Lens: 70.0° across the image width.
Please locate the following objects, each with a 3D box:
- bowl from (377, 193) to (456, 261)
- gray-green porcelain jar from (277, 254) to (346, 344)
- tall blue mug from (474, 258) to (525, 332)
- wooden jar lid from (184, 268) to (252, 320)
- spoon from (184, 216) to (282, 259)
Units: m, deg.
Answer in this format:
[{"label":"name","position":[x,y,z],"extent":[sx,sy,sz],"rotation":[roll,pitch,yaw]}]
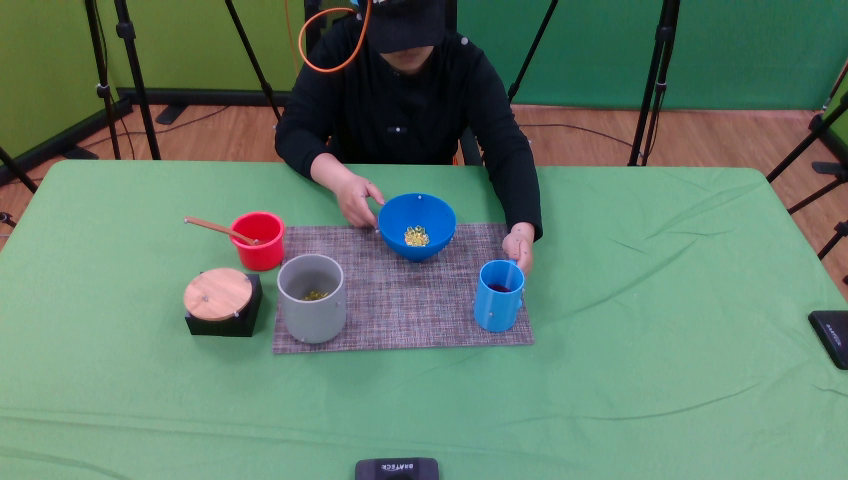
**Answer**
[{"label":"bowl","position":[-0.015,-0.013,1.166],"extent":[0.151,0.077,0.150],"rotation":[2,46,-2]},{"label":"gray-green porcelain jar","position":[-0.184,0.102,1.008],"extent":[0.106,0.127,0.105],"rotation":[2,46,-2]},{"label":"tall blue mug","position":[0.129,0.086,1.058],"extent":[0.078,0.108,0.106],"rotation":[0,46,-2]},{"label":"wooden jar lid","position":[-0.343,0.092,1.015],"extent":[0.108,0.021,0.107],"rotation":[3,46,-3]},{"label":"spoon","position":[-0.341,-0.008,1.096],"extent":[0.021,0.195,0.041],"rotation":[-35,47,25]}]
